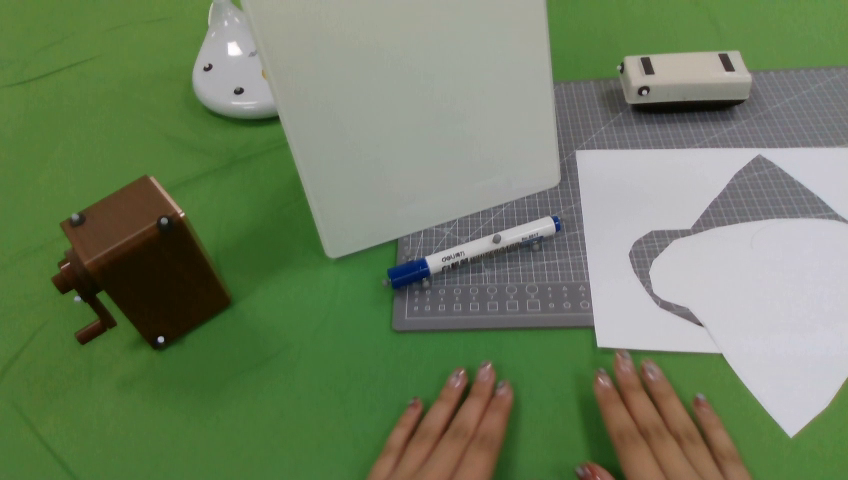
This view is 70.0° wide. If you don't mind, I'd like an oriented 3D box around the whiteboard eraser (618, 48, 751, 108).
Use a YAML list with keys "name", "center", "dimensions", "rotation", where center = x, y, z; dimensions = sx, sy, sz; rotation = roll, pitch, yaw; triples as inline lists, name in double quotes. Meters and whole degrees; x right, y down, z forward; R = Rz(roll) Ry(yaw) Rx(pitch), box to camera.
- name: "whiteboard eraser"
  center: [0.249, -0.155, 0.585]
  dimensions: [0.112, 0.042, 0.055]
  rotation: [-1, 51, 5]

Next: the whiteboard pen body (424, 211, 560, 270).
- name: "whiteboard pen body"
  center: [0.044, 0.004, 0.485]
  dimensions: [0.141, 0.017, 0.017]
  rotation: [-18, 51, -8]

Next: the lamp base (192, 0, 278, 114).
- name: "lamp base"
  center: [-0.192, -0.249, 0.620]
  dimensions: [0.177, 0.182, 0.160]
  rotation: [32, 60, 31]

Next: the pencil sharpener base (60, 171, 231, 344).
- name: "pencil sharpener base"
  center: [-0.203, 0.016, 0.449]
  dimensions: [0.076, 0.108, 0.061]
  rotation: [-36, 56, -21]

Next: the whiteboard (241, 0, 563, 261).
- name: "whiteboard"
  center: [-0.026, -0.175, 0.499]
  dimensions: [0.217, 0.308, 0.142]
  rotation: [-18, 31, -8]

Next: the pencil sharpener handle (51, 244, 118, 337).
- name: "pencil sharpener handle"
  center: [-0.241, 0.037, 0.419]
  dimensions: [0.030, 0.068, 0.035]
  rotation: [-36, 43, -21]

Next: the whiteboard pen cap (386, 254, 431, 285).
- name: "whiteboard pen cap"
  center: [-0.012, 0.023, 0.476]
  dimensions: [0.033, 0.018, 0.018]
  rotation: [-19, 51, -8]
